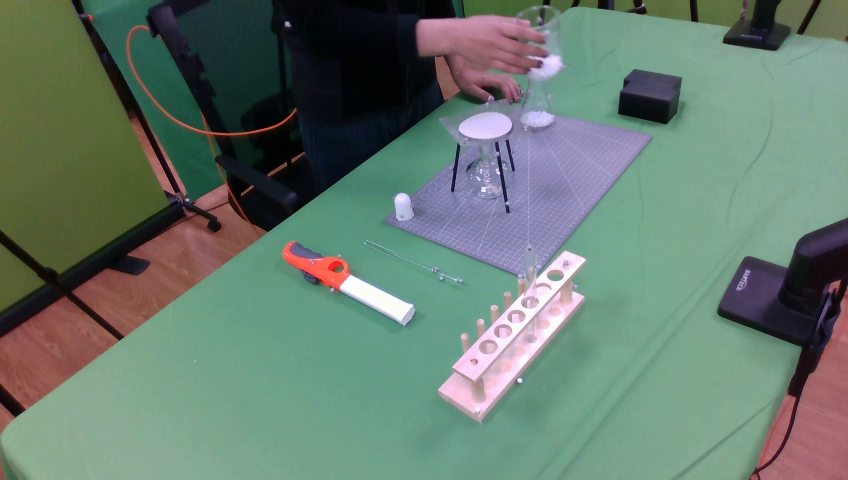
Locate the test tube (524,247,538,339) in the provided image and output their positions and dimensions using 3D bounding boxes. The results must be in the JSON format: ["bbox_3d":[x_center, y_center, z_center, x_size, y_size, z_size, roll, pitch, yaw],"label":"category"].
[{"bbox_3d":[0.133,0.070,0.749,0.017,0.151,0.017,-5,38,4],"label":"test tube"}]

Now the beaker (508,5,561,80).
[{"bbox_3d":[0.188,-0.326,1.010,0.084,0.101,0.073,-16,43,3],"label":"beaker"}]

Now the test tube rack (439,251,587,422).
[{"bbox_3d":[0.118,0.111,0.780,0.066,0.085,0.243,26,51,35],"label":"test tube rack"}]

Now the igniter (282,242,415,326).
[{"bbox_3d":[-0.126,0.062,0.931,0.274,0.025,0.057,24,61,33],"label":"igniter"}]

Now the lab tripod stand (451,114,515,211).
[{"bbox_3d":[0.113,-0.140,1.037,0.148,0.132,0.147,-6,38,5],"label":"lab tripod stand"}]

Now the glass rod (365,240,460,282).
[{"bbox_3d":[-0.022,0.032,0.961,0.198,0.008,0.008,21,49,35],"label":"glass rod"}]

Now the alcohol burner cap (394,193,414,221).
[{"bbox_3d":[-0.036,-0.059,1.041,0.034,0.048,0.033,-6,40,5],"label":"alcohol burner cap"}]

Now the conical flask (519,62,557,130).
[{"bbox_3d":[0.225,-0.287,1.198,0.075,0.122,0.075,-6,40,5],"label":"conical flask"}]

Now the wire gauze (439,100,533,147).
[{"bbox_3d":[0.100,-0.190,0.994,0.125,0.011,0.120,-15,39,-7],"label":"wire gauze"}]

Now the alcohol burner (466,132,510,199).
[{"bbox_3d":[0.110,-0.132,1.044,0.078,0.119,0.077,-5,38,5],"label":"alcohol burner"}]
